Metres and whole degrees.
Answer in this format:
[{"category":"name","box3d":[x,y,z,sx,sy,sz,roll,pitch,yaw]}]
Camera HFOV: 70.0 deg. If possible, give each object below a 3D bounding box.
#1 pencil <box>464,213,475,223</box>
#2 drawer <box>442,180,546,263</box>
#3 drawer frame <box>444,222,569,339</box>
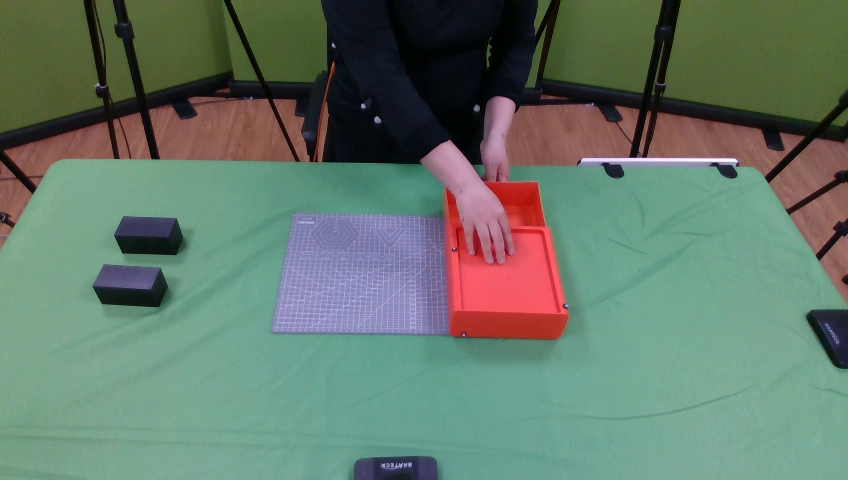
[{"category":"pencil","box3d":[0.133,0.007,1.192,0.012,0.012,0.193,-23,53,-24]},{"category":"drawer","box3d":[0.137,-0.022,1.184,0.194,0.073,0.210,2,48,-3]},{"category":"drawer frame","box3d":[0.141,0.070,1.096,0.202,0.083,0.212,2,46,-4]}]
